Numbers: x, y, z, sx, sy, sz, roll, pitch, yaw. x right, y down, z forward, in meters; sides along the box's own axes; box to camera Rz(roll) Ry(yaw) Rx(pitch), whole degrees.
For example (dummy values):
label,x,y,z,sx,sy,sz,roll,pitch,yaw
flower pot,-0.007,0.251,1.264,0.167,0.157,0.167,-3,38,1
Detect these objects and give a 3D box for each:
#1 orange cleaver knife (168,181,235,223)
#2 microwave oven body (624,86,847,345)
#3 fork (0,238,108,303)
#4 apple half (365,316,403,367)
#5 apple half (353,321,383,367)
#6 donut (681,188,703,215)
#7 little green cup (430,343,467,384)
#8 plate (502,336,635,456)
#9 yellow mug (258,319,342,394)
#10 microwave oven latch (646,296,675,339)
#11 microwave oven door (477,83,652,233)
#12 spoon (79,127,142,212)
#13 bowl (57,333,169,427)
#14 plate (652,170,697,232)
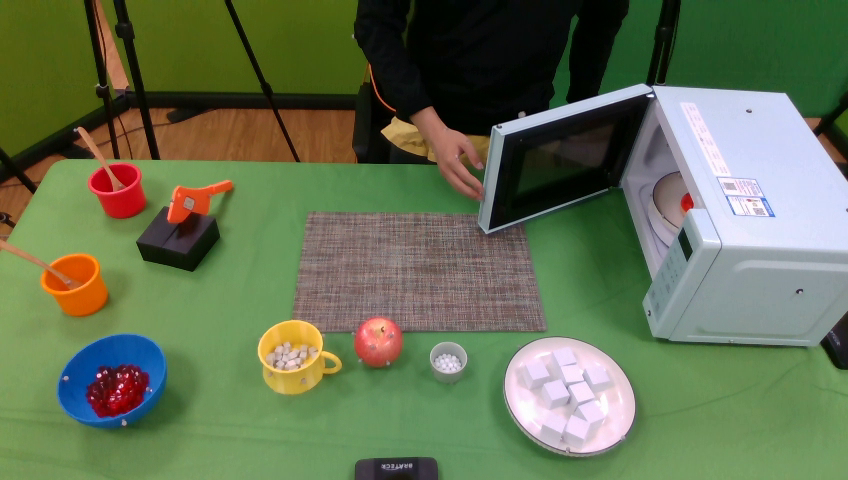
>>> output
label,x,y,z,sx,sy,sz,roll,pitch,yaw
orange cleaver knife,-0.436,-0.078,1.196,0.012,0.077,0.211,16,15,10
microwave oven body,0.567,-0.053,1.118,0.326,0.261,0.439,2,45,-1
fork,-0.633,0.048,1.017,0.208,0.018,0.028,40,41,-27
apple half,-0.063,0.165,1.000,0.053,0.075,0.080,-16,45,-24
apple half,-0.097,0.177,0.984,0.033,0.081,0.081,-17,49,-25
donut,0.554,-0.065,1.185,0.099,0.048,0.098,1,45,-1
little green cup,0.039,0.203,0.994,0.061,0.039,0.061,2,46,-2
plate,0.225,0.248,0.963,0.208,0.039,0.206,2,46,-2
yellow mug,-0.195,0.189,0.972,0.131,0.064,0.099,9,46,4
microwave oven latch,0.412,0.134,1.061,0.030,0.029,0.078,3,45,0
microwave oven door,0.277,-0.163,1.197,0.356,0.245,0.039,-20,51,-21
spoon,-0.624,-0.140,1.203,0.041,0.021,0.194,-33,100,-26
bowl,-0.456,0.223,0.912,0.151,0.077,0.150,3,45,-2
plate,0.555,-0.059,1.196,0.209,0.038,0.208,2,45,-1
